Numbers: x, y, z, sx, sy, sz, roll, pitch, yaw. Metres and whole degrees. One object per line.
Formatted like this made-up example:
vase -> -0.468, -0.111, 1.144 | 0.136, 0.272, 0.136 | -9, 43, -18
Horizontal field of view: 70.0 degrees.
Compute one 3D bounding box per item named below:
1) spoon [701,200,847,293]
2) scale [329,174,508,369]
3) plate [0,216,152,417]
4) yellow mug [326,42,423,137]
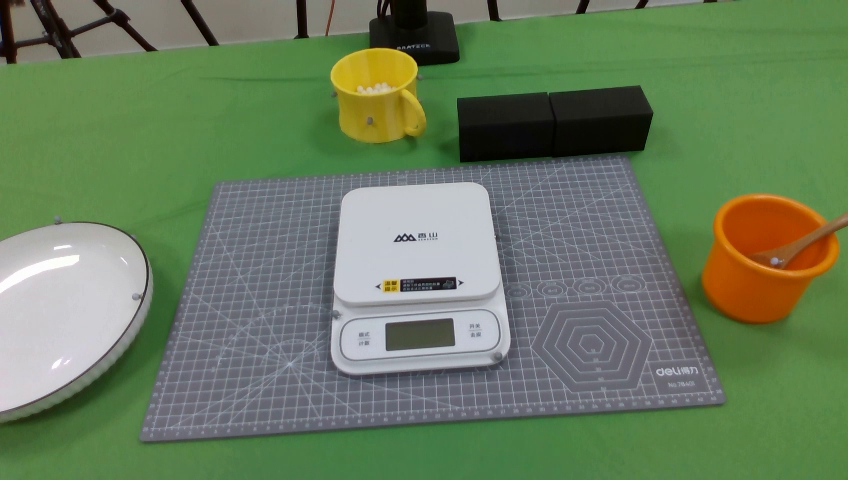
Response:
spoon -> 0.311, -0.012, 0.475 | 0.022, 0.194, 0.041 | 26, 42, -34
scale -> -0.008, 0.019, 0.545 | 0.149, 0.032, 0.199 | -4, 48, 1
plate -> -0.341, 0.064, 0.529 | 0.209, 0.038, 0.207 | -2, 48, 2
yellow mug -> -0.048, -0.170, 0.701 | 0.129, 0.064, 0.100 | 35, 59, 29
